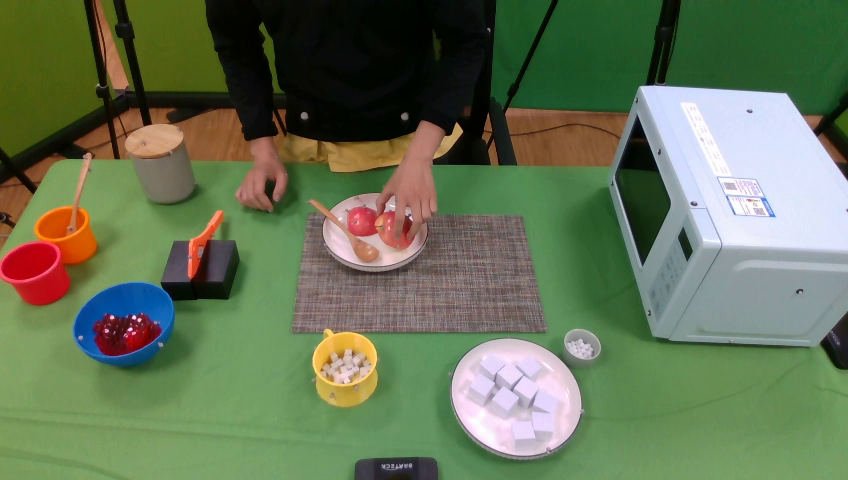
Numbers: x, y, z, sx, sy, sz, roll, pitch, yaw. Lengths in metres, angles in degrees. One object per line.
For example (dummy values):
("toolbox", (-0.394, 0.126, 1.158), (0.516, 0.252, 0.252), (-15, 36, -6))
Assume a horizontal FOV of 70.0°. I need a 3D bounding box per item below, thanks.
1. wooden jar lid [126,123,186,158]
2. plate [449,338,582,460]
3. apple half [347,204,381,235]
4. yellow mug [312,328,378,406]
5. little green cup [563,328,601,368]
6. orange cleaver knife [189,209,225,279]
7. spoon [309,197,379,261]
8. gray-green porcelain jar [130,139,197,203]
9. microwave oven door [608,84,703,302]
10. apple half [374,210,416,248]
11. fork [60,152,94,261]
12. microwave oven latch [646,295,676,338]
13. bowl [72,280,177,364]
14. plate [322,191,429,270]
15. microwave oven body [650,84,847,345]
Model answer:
("wooden jar lid", (-0.519, -0.190, 1.179), (0.108, 0.021, 0.107), (2, 44, -2))
("plate", (0.141, 0.251, 0.956), (0.208, 0.039, 0.206), (2, 46, -2))
("apple half", (-0.118, -0.049, 1.207), (0.081, 0.033, 0.081), (1, 50, -1))
("yellow mug", (-0.132, 0.193, 0.971), (0.100, 0.064, 0.130), (-22, 51, -22))
("little green cup", (0.265, 0.185, 1.025), (0.061, 0.039, 0.061), (1, 45, -1))
("orange cleaver knife", (-0.401, 0.002, 1.122), (0.012, 0.077, 0.210), (4, 23, -4))
("spoon", (-0.158, -0.025, 1.172), (0.041, 0.022, 0.193), (-40, 72, -21))
("gray-green porcelain jar", (-0.522, -0.147, 1.225), (0.106, 0.127, 0.105), (2, 47, -2))
("microwave oven door", (0.424, -0.096, 1.138), (0.039, 0.245, 0.353), (2, 46, -1))
("apple half", (-0.050, -0.028, 1.160), (0.075, 0.053, 0.080), (20, 27, -29))
("fork", (-0.637, -0.063, 1.119), (0.028, 0.019, 0.207), (11, 90, 16))
("microwave oven latch", (0.412, 0.133, 1.061), (0.030, 0.029, 0.078), (3, 46, 0))
("bowl", (-0.473, 0.147, 0.982), (0.151, 0.077, 0.150), (2, 46, -2))
("plate", (-0.094, -0.015, 1.185), (0.209, 0.038, 0.208), (2, 46, -2))
("microwave oven body", (0.569, -0.054, 1.116), (0.326, 0.261, 0.439), (2, 46, -1))
